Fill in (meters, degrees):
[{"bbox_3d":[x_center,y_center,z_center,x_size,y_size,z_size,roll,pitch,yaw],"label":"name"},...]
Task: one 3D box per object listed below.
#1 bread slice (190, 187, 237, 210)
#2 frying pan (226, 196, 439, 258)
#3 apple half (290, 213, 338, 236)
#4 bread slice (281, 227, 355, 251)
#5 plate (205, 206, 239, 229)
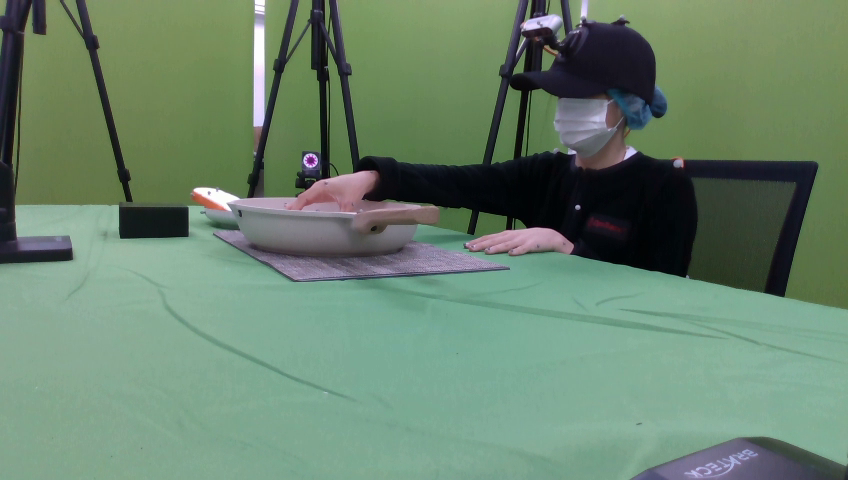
[{"bbox_3d":[-0.403,-0.073,1.218,0.131,0.019,0.105,27,12,15],"label":"bread slice"},{"bbox_3d":[-0.103,-0.027,0.845,0.308,0.102,0.486,-1,0,-25],"label":"frying pan"},{"bbox_3d":[-0.170,-0.025,0.937,0.081,0.033,0.081,4,7,0],"label":"apple half"},{"bbox_3d":[-0.170,-0.003,0.943,0.107,0.018,0.134,2,9,-15],"label":"bread slice"},{"bbox_3d":[-0.324,-0.046,1.199,0.208,0.039,0.207,3,7,0],"label":"plate"}]
